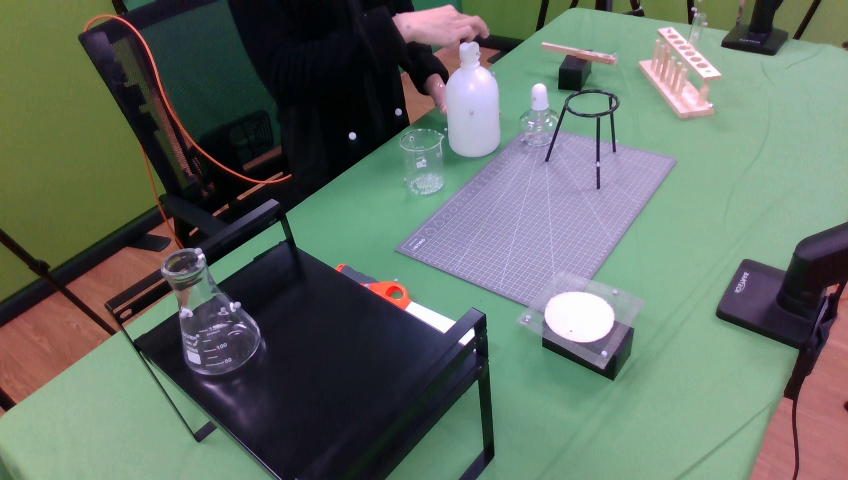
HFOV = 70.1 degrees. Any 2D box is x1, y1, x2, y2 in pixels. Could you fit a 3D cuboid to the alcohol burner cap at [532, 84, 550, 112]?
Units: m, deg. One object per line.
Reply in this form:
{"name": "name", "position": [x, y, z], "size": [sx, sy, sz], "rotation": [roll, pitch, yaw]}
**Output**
{"name": "alcohol burner cap", "position": [0.218, -0.269, 1.133], "size": [0.034, 0.048, 0.033], "rotation": [-9, 36, 7]}

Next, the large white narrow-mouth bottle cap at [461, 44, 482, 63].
{"name": "large white narrow-mouth bottle cap", "position": [0.085, -0.333, 1.081], "size": [0.038, 0.024, 0.037], "rotation": [-4, 40, 4]}

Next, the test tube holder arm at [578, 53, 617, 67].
{"name": "test tube holder arm", "position": [0.376, -0.393, 1.314], "size": [0.087, 0.015, 0.010], "rotation": [26, 51, 32]}

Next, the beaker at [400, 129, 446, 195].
{"name": "beaker", "position": [0.004, -0.140, 1.087], "size": [0.084, 0.101, 0.073], "rotation": [-20, 42, -14]}

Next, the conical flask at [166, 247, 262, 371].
{"name": "conical flask", "position": [-0.208, 0.064, 0.584], "size": [0.075, 0.122, 0.075], "rotation": [-5, 40, 4]}

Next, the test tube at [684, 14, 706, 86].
{"name": "test tube", "position": [0.540, -0.378, 1.215], "size": [0.017, 0.151, 0.017], "rotation": [-2, 44, 3]}

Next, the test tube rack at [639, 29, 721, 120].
{"name": "test tube rack", "position": [0.527, -0.351, 1.262], "size": [0.067, 0.085, 0.241], "rotation": [-8, 40, 1]}

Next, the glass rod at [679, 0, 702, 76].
{"name": "glass rod", "position": [0.543, -0.417, 1.233], "size": [0.008, 0.200, 0.008], "rotation": [1, 40, 0]}

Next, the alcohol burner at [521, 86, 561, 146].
{"name": "alcohol burner", "position": [0.223, -0.241, 1.155], "size": [0.078, 0.119, 0.077], "rotation": [-5, 43, 5]}

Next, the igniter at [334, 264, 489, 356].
{"name": "igniter", "position": [-0.030, 0.095, 0.871], "size": [0.274, 0.025, 0.057], "rotation": [22, 59, 31]}

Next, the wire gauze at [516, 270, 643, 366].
{"name": "wire gauze", "position": [0.200, 0.093, 0.777], "size": [0.124, 0.011, 0.122], "rotation": [23, 49, 32]}

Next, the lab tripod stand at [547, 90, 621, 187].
{"name": "lab tripod stand", "position": [0.289, -0.184, 1.062], "size": [0.148, 0.132, 0.147], "rotation": [-6, 41, 6]}

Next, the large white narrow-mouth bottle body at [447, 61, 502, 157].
{"name": "large white narrow-mouth bottle body", "position": [0.094, -0.261, 1.142], "size": [0.102, 0.195, 0.101], "rotation": [-4, 40, 4]}

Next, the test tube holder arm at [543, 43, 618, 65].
{"name": "test tube holder arm", "position": [0.344, -0.413, 1.340], "size": [0.177, 0.015, 0.013], "rotation": [25, 51, 31]}
